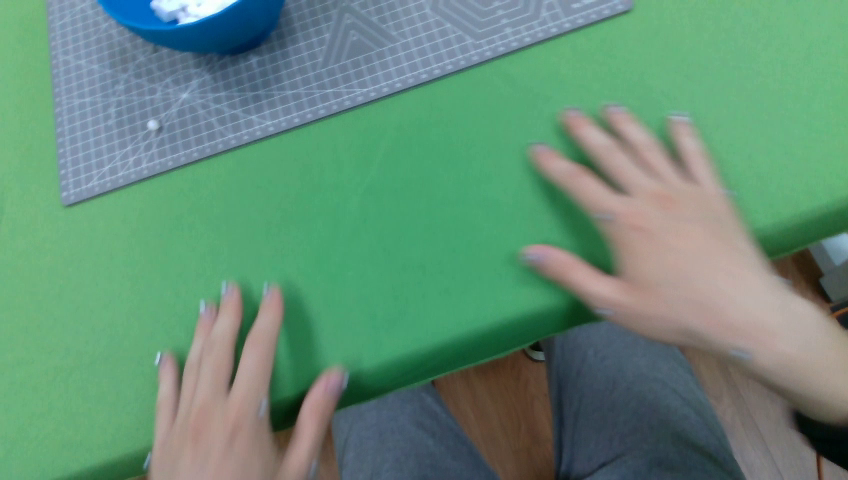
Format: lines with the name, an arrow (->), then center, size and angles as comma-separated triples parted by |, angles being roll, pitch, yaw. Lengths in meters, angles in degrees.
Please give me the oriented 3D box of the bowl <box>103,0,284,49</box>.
bowl -> -0.157, -0.198, 0.454 | 0.151, 0.077, 0.150 | -3, 70, 8
